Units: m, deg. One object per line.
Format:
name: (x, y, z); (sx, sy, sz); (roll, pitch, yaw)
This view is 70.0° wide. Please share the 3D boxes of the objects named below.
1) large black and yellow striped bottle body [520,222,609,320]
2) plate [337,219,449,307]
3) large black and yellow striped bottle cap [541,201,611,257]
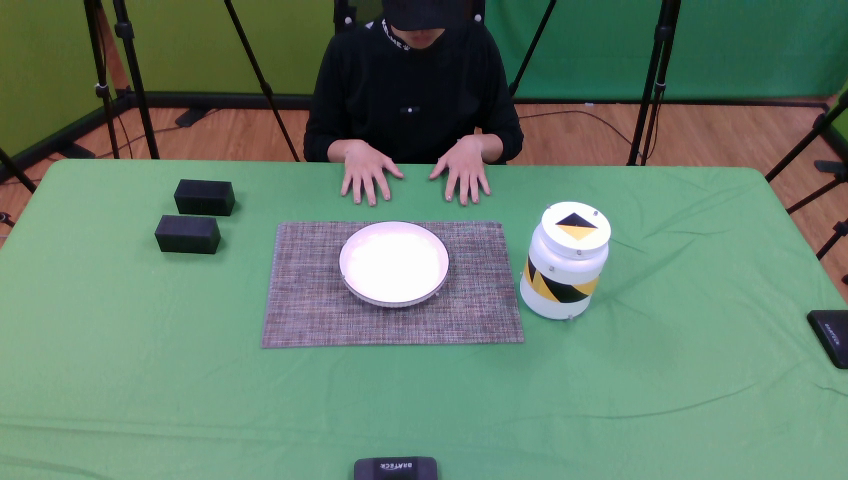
large black and yellow striped bottle body: (0.247, 0.038, 1.065); (0.131, 0.185, 0.130); (2, 46, -2)
plate: (-0.057, 0.045, 1.133); (0.208, 0.039, 0.206); (2, 46, -2)
large black and yellow striped bottle cap: (0.252, -0.021, 1.004); (0.115, 0.019, 0.114); (1, 47, -1)
